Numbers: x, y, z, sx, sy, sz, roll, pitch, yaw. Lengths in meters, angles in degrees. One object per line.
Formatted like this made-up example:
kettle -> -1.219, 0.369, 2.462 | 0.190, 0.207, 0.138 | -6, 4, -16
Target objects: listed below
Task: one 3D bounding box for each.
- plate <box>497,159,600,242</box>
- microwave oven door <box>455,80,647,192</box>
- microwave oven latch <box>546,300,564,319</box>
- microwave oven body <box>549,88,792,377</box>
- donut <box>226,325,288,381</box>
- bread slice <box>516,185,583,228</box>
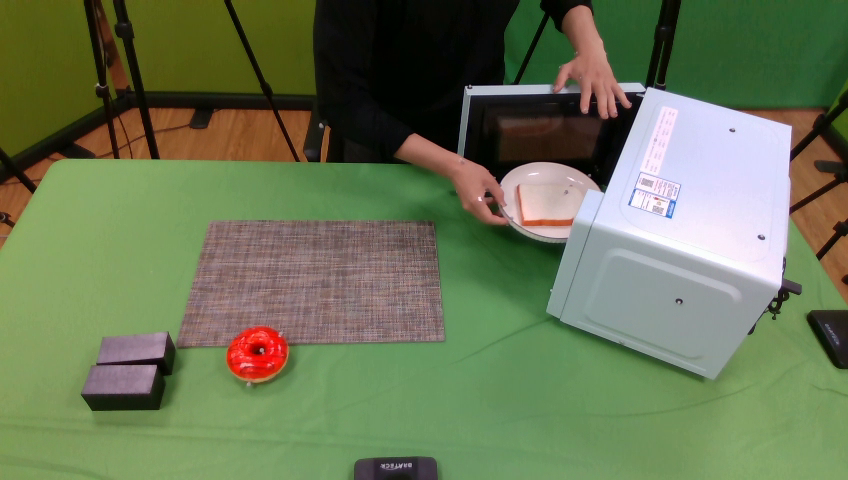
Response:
plate -> 0.241, -0.073, 1.169 | 0.208, 0.039, 0.206 | 2, 51, -2
microwave oven door -> 0.249, -0.208, 1.236 | 0.356, 0.245, 0.039 | -4, 46, -6
microwave oven latch -> 0.242, 0.102, 1.081 | 0.030, 0.029, 0.079 | 21, 48, 17
microwave oven body -> 0.456, -0.028, 1.088 | 0.325, 0.261, 0.440 | 20, 47, 16
donut -> -0.270, 0.182, 0.984 | 0.099, 0.048, 0.098 | 5, 49, -5
bread slice -> 0.249, -0.066, 1.170 | 0.131, 0.019, 0.104 | -5, 53, -2
